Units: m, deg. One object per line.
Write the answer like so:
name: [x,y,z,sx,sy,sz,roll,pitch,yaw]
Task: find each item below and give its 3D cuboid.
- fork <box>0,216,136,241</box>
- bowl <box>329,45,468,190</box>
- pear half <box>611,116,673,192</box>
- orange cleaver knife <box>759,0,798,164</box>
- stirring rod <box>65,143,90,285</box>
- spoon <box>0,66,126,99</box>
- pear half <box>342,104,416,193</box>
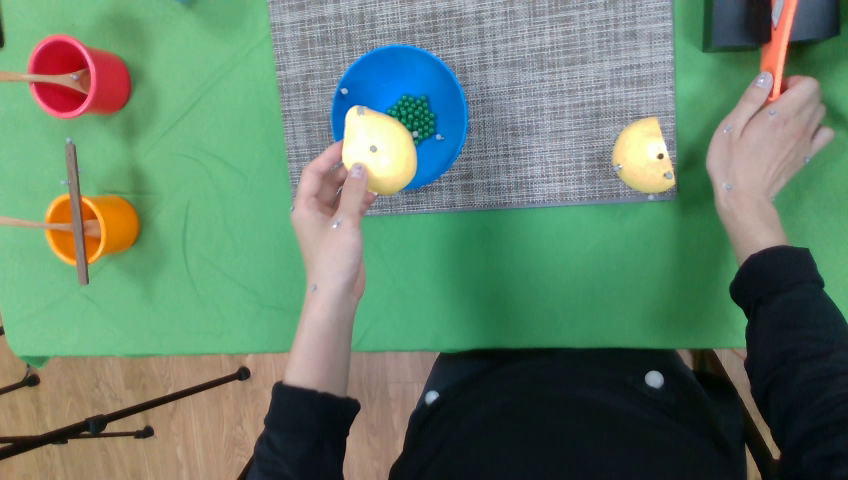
fork: [-0.476,-0.020,0.760,0.209,0.018,0.028,7,115,-33]
bowl: [-0.020,-0.132,0.669,0.151,0.077,0.152,2,100,13]
pear half: [0.218,-0.082,0.606,0.056,0.110,0.076,-22,90,16]
orange cleaver knife: [0.335,-0.175,0.580,0.012,0.076,0.213,-4,127,14]
stirring rod: [-0.426,-0.030,0.745,0.014,0.006,0.176,2,101,10]
spoon: [-0.468,-0.196,0.732,0.195,0.021,0.042,-4,103,-30]
pear half: [-0.039,-0.087,0.561,0.070,0.031,0.088,-38,111,-21]
